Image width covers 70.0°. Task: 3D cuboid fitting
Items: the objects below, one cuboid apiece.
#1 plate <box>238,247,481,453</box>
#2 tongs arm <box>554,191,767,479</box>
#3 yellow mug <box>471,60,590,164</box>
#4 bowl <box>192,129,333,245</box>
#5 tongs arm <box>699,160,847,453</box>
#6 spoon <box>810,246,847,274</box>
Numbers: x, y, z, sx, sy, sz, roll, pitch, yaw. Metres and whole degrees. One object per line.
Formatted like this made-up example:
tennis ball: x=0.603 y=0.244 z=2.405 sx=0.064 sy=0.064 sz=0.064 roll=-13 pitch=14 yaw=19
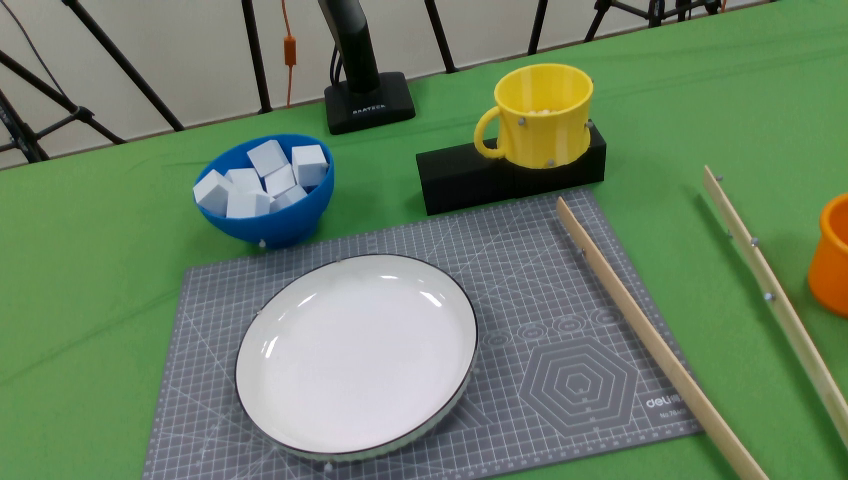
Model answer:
plate: x=-0.053 y=0.091 z=0.526 sx=0.207 sy=0.039 sz=0.205 roll=-6 pitch=44 yaw=6
tongs arm: x=0.195 y=0.081 z=0.492 sx=0.028 sy=0.028 sz=0.383 roll=-14 pitch=44 yaw=-10
yellow mug: x=0.108 y=-0.130 z=0.633 sx=0.131 sy=0.064 sz=0.099 roll=-23 pitch=44 yaw=-11
bowl: x=-0.166 y=-0.048 z=0.668 sx=0.151 sy=0.077 sz=0.150 roll=-6 pitch=43 yaw=6
tongs arm: x=0.276 y=0.064 z=0.492 sx=0.051 sy=0.027 sz=0.380 roll=-7 pitch=45 yaw=2
spoon: x=0.372 y=0.009 z=0.446 sx=0.041 sy=0.193 sz=0.021 roll=-28 pitch=89 yaw=-13
